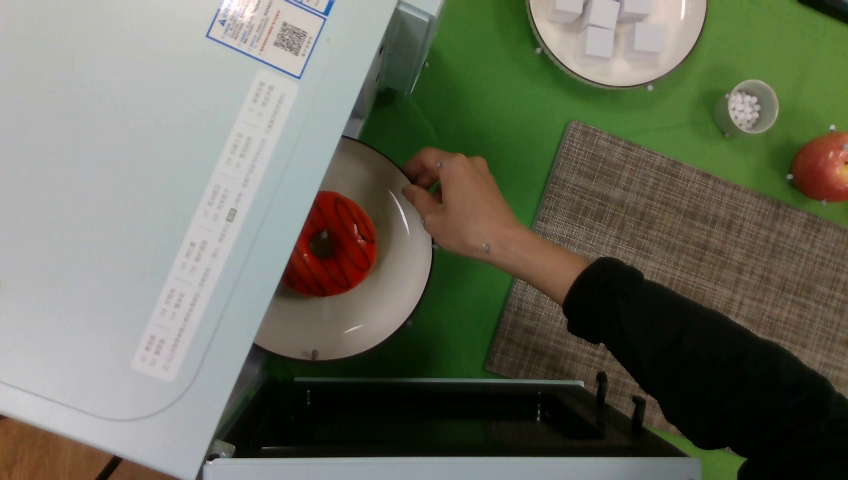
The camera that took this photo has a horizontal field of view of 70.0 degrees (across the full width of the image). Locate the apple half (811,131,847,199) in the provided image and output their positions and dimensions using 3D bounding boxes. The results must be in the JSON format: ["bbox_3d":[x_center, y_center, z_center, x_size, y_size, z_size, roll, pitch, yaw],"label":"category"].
[{"bbox_3d":[0.485,-0.087,0.697,0.033,0.081,0.081,-7,91,-2],"label":"apple half"}]

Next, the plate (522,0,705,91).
[{"bbox_3d":[0.209,-0.268,0.680,0.208,0.039,0.207,0,90,-7],"label":"plate"}]

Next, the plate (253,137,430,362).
[{"bbox_3d":[-0.100,0.007,0.561,0.209,0.038,0.209,0,92,-7],"label":"plate"}]

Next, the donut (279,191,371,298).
[{"bbox_3d":[-0.097,0.005,0.548,0.099,0.048,0.099,-1,95,-7],"label":"donut"}]

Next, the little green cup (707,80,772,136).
[{"bbox_3d":[0.361,-0.150,0.700,0.061,0.038,0.061,0,89,-6],"label":"little green cup"}]

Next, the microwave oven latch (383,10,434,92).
[{"bbox_3d":[-0.016,-0.198,0.635,0.030,0.029,0.079,25,88,-7],"label":"microwave oven latch"}]

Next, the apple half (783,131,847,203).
[{"bbox_3d":[0.446,-0.082,0.694,0.053,0.074,0.081,-6,95,-2],"label":"apple half"}]

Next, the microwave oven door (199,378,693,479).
[{"bbox_3d":[0.011,0.169,0.541,0.356,0.243,0.039,2,89,-7],"label":"microwave oven door"}]

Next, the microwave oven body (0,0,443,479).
[{"bbox_3d":[-0.209,-0.091,0.516,0.327,0.259,0.441,23,88,-7],"label":"microwave oven body"}]
